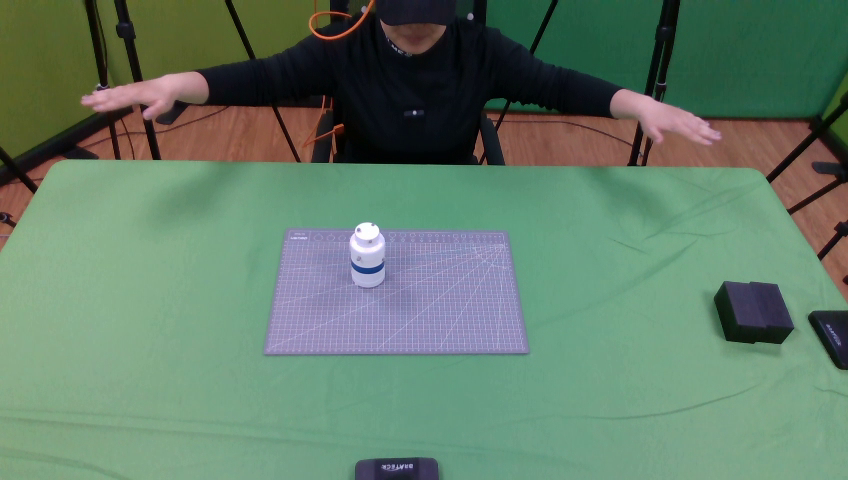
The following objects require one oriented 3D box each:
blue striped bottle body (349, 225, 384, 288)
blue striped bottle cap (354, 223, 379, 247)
[{"bbox_3d":[-0.103,0.026,1.093,0.063,0.121,0.062,2,46,-2],"label":"blue striped bottle body"},{"bbox_3d":[-0.100,-0.009,1.057,0.044,0.021,0.044,2,45,-1],"label":"blue striped bottle cap"}]
